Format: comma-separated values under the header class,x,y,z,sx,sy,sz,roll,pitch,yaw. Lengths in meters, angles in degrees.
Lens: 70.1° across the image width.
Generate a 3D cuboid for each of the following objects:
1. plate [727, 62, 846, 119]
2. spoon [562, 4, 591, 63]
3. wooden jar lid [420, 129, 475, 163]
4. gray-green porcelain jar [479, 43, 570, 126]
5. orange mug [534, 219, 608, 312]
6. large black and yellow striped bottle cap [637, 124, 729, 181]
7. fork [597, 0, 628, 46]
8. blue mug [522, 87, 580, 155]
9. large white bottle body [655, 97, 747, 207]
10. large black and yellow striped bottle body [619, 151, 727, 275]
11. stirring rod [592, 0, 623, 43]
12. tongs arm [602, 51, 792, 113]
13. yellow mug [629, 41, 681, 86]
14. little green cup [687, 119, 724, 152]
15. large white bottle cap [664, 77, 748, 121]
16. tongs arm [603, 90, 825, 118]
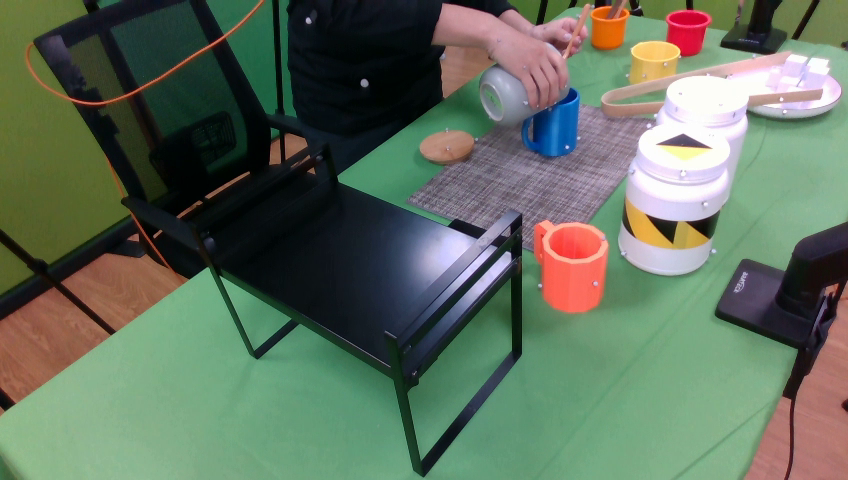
class,x,y,z,sx,sy,sz,roll,pitch,yaw
plate,0.709,-0.292,1.197,0.207,0.039,0.206,-4,40,4
spoon,0.258,-0.341,1.089,0.041,0.022,0.193,19,76,35
wooden jar lid,0.047,-0.183,1.183,0.108,0.021,0.108,-6,37,5
gray-green porcelain jar,0.167,-0.262,1.033,0.127,0.106,0.105,-29,45,-15
orange mug,0.200,0.027,0.858,0.084,0.101,0.125,-24,48,-18
large black and yellow striped bottle cap,0.346,-0.119,0.810,0.115,0.019,0.114,-5,41,4
fork,0.479,-0.558,1.455,0.028,0.019,0.207,35,100,38
blue mug,0.233,-0.218,1.127,0.117,0.106,0.081,-23,42,-16
large white bottle body,0.431,-0.148,0.959,0.130,0.185,0.130,-4,41,4
large black and yellow striped bottle body,0.354,-0.056,0.865,0.131,0.185,0.130,-4,41,4
stirring rod,0.460,-0.557,1.461,0.014,0.176,0.006,35,11,22
tongs arm,0.552,-0.320,1.224,0.384,0.027,0.050,-10,43,7
yellow mug,0.495,-0.389,1.321,0.100,0.064,0.130,-14,40,-7
little green cup,0.513,-0.191,1.109,0.061,0.039,0.061,-5,40,5
large white bottle cap,0.421,-0.212,0.905,0.115,0.018,0.114,-4,40,4
tongs arm,0.546,-0.262,1.163,0.386,0.028,0.028,-1,49,18
